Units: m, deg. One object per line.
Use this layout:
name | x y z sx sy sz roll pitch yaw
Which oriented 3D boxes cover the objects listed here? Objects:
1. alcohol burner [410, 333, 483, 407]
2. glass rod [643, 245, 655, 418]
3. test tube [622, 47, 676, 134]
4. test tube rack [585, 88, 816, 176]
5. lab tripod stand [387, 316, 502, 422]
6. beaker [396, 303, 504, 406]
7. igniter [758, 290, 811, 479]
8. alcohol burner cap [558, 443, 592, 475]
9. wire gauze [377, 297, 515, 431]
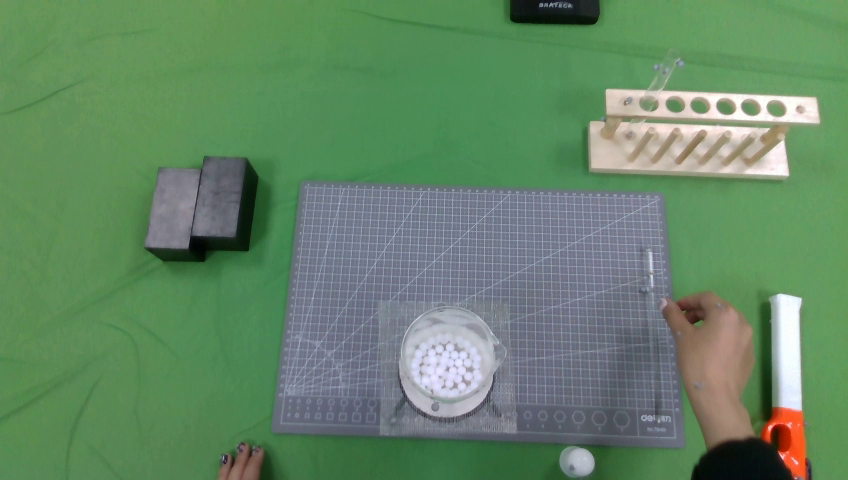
alcohol burner | 0.024 0.132 0.628 0.078 0.120 0.077 1 70 -1
glass rod | 0.257 0.101 0.693 0.008 0.008 0.198 3 75 1
test tube | 0.253 -0.165 0.691 0.017 0.151 0.017 0 68 1
test tube rack | 0.326 -0.128 0.730 0.242 0.085 0.066 2 72 1
lab tripod stand | 0.019 0.136 0.617 0.148 0.132 0.147 -1 71 2
beaker | 0.021 0.100 0.508 0.084 0.101 0.073 -2 71 0
igniter | 0.390 0.190 0.658 0.057 0.025 0.275 12 72 -7
alcohol burner cap | 0.162 0.230 0.638 0.034 0.048 0.033 -1 67 3
wire gauze | 0.018 0.112 0.555 0.125 0.011 0.120 -1 70 2
